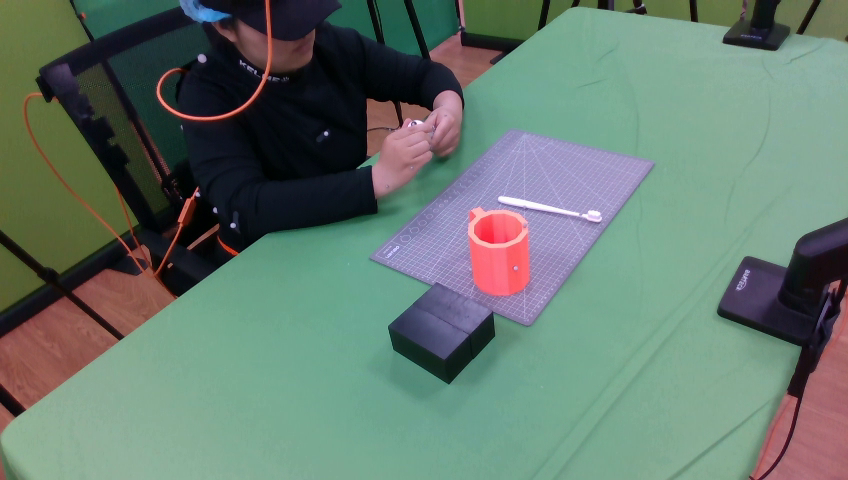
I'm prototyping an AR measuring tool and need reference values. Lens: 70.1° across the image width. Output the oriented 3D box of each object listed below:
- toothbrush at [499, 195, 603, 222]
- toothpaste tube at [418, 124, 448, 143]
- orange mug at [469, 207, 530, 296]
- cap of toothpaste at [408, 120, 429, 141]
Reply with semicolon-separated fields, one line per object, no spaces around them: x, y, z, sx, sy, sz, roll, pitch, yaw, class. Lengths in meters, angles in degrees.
0.209;-0.055;1.011;0.180;0.017;0.014;13;61;27;toothbrush
0.007;-0.194;1.119;0.055;0.034;0.165;6;6;10;toothpaste tube
0.104;0.008;0.894;0.084;0.101;0.125;-22;46;-14;orange mug
-0.010;-0.189;1.042;0.037;0.037;0.011;-1;5;10;cap of toothpaste
